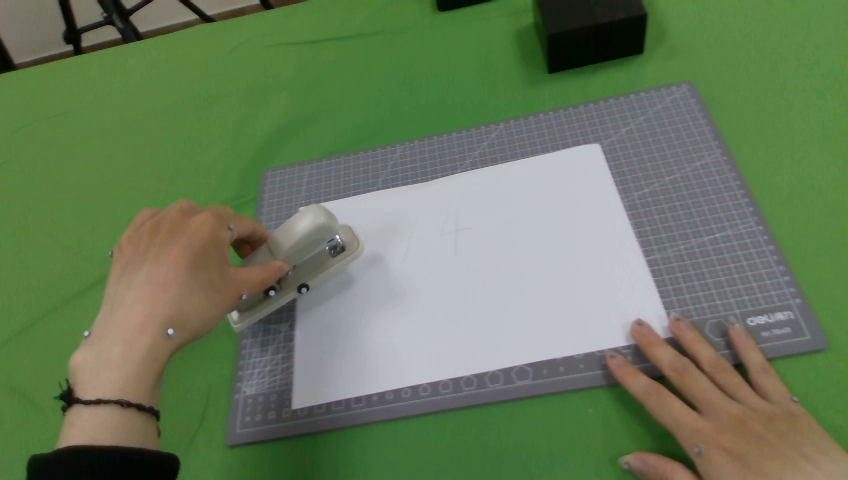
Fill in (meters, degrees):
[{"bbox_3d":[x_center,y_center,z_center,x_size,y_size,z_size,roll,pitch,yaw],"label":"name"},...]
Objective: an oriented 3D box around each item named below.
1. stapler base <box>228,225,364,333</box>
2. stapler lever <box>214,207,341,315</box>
[{"bbox_3d":[-0.114,0.027,0.516,0.130,0.025,0.041,-32,56,-5],"label":"stapler base"},{"bbox_3d":[-0.121,0.016,0.494,0.118,0.040,0.026,-33,56,-5],"label":"stapler lever"}]
